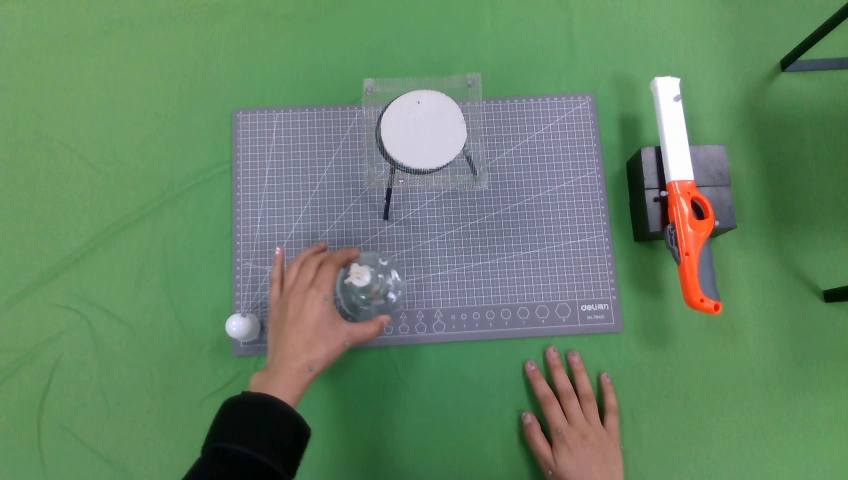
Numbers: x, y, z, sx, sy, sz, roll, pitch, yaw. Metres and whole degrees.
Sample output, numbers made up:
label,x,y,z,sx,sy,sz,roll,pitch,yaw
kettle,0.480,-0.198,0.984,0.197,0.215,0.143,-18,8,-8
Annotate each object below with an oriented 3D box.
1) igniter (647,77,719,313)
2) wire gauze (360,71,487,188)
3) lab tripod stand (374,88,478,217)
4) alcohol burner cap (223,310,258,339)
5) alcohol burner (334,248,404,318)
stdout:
label,x,y,z,sx,sy,sz,roll,pitch,yaw
igniter,0.288,-0.055,0.680,0.057,0.025,0.275,-3,76,-5
wire gauze,-0.001,-0.111,0.605,0.125,0.011,0.121,-1,79,-1
lab tripod stand,-0.009,-0.101,0.671,0.148,0.132,0.147,0,78,0
alcohol burner cap,-0.207,0.092,0.674,0.034,0.048,0.033,0,77,-2
alcohol burner,-0.062,0.044,0.649,0.078,0.119,0.077,-1,79,5
